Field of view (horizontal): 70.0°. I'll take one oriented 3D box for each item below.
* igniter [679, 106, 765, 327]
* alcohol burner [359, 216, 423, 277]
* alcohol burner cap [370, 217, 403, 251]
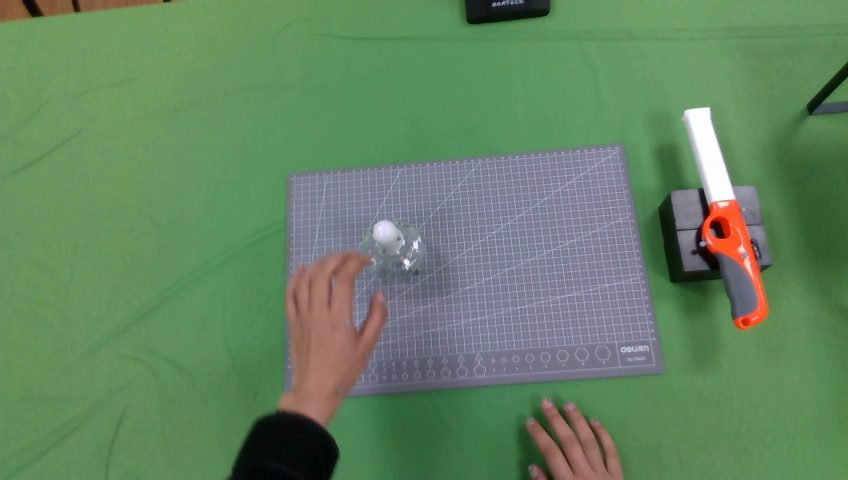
[{"bbox_3d":[0.344,-0.035,0.704,0.057,0.025,0.274,-6,68,2],"label":"igniter"},{"bbox_3d":[-0.041,0.002,0.718,0.078,0.120,0.077,-1,71,2],"label":"alcohol burner"},{"bbox_3d":[-0.044,-0.008,0.684,0.034,0.048,0.033,-2,76,8],"label":"alcohol burner cap"}]
